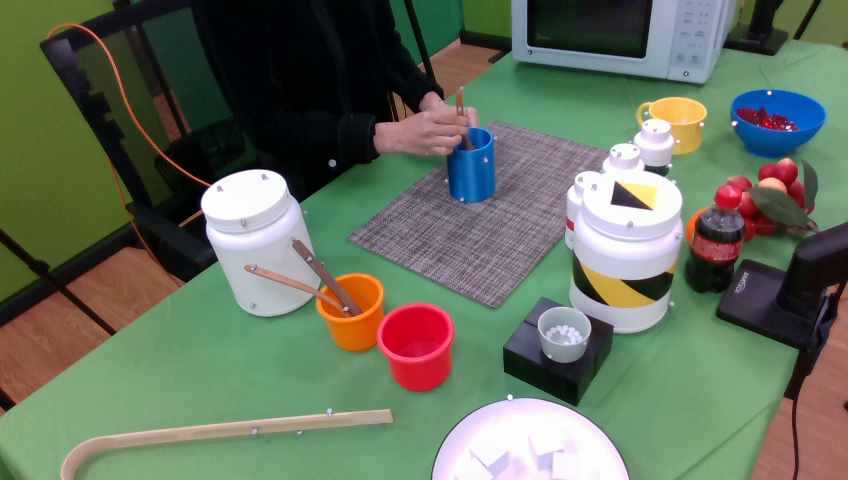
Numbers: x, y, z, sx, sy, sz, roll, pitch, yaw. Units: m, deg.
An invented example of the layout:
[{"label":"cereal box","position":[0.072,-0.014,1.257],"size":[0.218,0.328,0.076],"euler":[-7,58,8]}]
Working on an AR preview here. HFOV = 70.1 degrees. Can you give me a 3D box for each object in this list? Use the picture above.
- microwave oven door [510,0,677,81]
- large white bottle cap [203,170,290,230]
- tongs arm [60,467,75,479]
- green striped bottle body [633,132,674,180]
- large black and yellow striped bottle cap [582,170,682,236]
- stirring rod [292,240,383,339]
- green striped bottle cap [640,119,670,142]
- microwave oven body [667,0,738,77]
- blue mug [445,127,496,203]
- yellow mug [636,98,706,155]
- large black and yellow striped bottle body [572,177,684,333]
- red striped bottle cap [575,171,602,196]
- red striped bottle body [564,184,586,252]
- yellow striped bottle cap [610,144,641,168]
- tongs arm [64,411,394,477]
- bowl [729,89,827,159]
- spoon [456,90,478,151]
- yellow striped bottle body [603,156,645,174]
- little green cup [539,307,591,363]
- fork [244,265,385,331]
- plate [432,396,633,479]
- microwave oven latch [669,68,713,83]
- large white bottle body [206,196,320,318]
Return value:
[{"label":"microwave oven door","position":[0.354,-0.478,1.290],"size":[0.353,0.245,0.039],"euler":[15,45,25]},{"label":"large white bottle cap","position":[-0.241,-0.057,0.822],"size":[0.115,0.018,0.114],"euler":[-4,41,4]},{"label":"tongs arm","position":[-0.239,0.301,0.648],"size":[0.386,0.028,0.028],"euler":[6,49,16]},{"label":"green striped bottle body","position":[0.376,-0.135,1.001],"size":[0.063,0.120,0.063],"euler":[-5,40,5]},{"label":"large black and yellow striped bottle cap","position":[0.252,-0.048,0.735],"size":[0.115,0.019,0.114],"euler":[-3,40,3]},{"label":"stirring rod","position":[-0.118,0.068,0.826],"size":[0.176,0.006,0.014],"euler":[49,59,-4]},{"label":"green striped bottle cap","position":[0.371,-0.175,0.968],"size":[0.044,0.020,0.044],"euler":[-5,41,5]},{"label":"microwave oven body","position":[0.462,-0.552,1.369],"size":[0.439,0.261,0.326],"euler":[15,45,26]},{"label":"blue mug","position":[0.082,-0.140,1.059],"size":[0.082,0.106,0.116],"euler":[-4,40,4]},{"label":"yellow mug","position":[0.453,-0.217,1.128],"size":[0.100,0.064,0.129],"euler":[-34,46,-27]},{"label":"large black and yellow striped bottle body","position":[0.262,0.017,0.788],"size":[0.131,0.185,0.130],"euler":[-5,40,4]},{"label":"red striped bottle cap","position":[0.242,-0.081,0.876],"size":[0.044,0.018,0.044],"euler":[-5,44,5]},{"label":"red striped bottle body","position":[0.247,-0.041,0.910],"size":[0.063,0.120,0.062],"euler":[-3,39,3]},{"label":"yellow striped bottle cap","position":[0.307,-0.128,0.923],"size":[0.044,0.019,0.044],"euler":[-5,39,5]},{"label":"tongs arm","position":[-0.228,0.241,0.715],"size":[0.385,0.026,0.050],"euler":[-5,43,4]},{"label":"bowl","position":[0.615,-0.197,1.069],"size":[0.151,0.077,0.150],"euler":[-5,40,5]},{"label":"spoon","position":[0.073,-0.174,1.005],"size":[0.041,0.195,0.021],"euler":[-43,53,-14]},{"label":"yellow striped bottle body","position":[0.313,-0.089,0.956],"size":[0.063,0.121,0.062],"euler":[-4,40,4]},{"label":"little green cup","position":[0.167,0.114,0.721],"size":[0.061,0.039,0.061],"euler":[-4,43,4]},{"label":"fork","position":[-0.142,0.078,0.806],"size":[0.209,0.018,0.028],"euler":[30,33,-23]},{"label":"plate","position":[0.112,0.261,0.634],"size":[0.209,0.038,0.208],"euler":[-5,40,4]},{"label":"microwave oven latch","position":[0.556,-0.348,1.262],"size":[0.078,0.029,0.030],"euler":[15,46,26]},{"label":"large white bottle body","position":[-0.233,0.008,0.876],"size":[0.130,0.185,0.130],"euler":[-4,40,4]}]
